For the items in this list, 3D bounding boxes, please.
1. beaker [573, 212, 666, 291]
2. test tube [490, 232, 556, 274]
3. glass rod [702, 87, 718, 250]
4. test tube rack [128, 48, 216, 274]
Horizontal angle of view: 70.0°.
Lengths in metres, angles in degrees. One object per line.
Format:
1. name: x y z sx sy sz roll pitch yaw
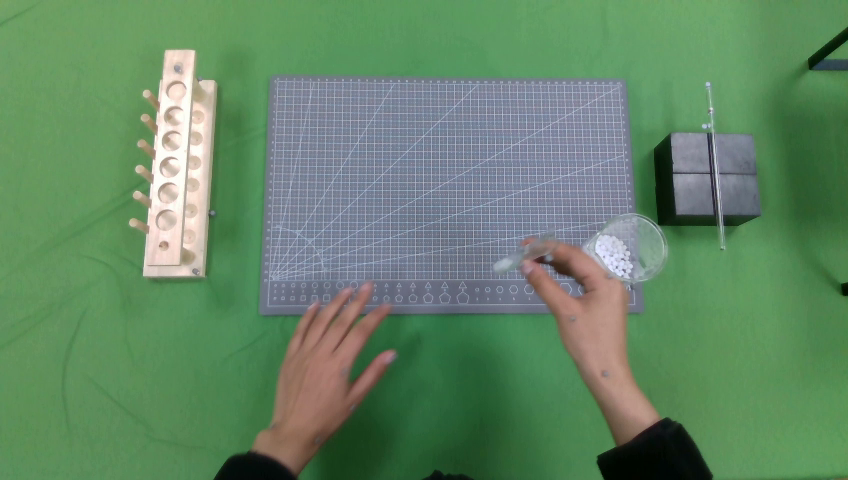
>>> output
1. beaker: 0.210 0.017 0.678 0.084 0.100 0.073 2 78 -1
2. test tube: 0.089 0.015 0.572 0.017 0.150 0.017 2 79 -11
3. glass rod: 0.333 -0.086 0.706 0.008 0.008 0.199 2 79 -2
4. test tube rack: -0.289 -0.086 0.686 0.067 0.085 0.241 0 78 -2
